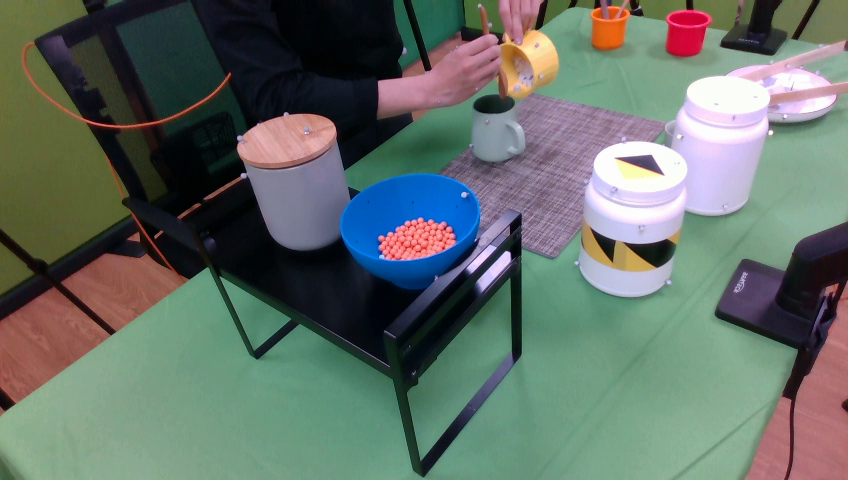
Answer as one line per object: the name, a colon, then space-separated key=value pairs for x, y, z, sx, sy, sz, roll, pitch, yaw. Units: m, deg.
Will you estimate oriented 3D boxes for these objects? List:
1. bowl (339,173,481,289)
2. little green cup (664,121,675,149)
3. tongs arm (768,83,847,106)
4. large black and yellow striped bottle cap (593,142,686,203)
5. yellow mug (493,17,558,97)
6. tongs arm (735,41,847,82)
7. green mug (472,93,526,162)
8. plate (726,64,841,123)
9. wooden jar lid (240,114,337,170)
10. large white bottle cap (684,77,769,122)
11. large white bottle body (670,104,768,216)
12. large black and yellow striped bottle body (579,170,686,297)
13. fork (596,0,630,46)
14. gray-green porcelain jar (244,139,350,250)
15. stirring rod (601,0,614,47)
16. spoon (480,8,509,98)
bowl: x=-0.011 y=0.001 z=0.660 sx=0.151 sy=0.077 sz=0.150 roll=-5 pitch=41 yaw=5
little green cup: x=0.472 y=-0.188 z=1.113 sx=0.061 sy=0.039 sz=0.061 roll=-5 pitch=40 yaw=4
tongs arm: x=0.738 y=-0.281 z=1.134 sx=0.388 sy=0.028 sz=0.028 roll=-9 pitch=47 yaw=-5
large black and yellow striped bottle cap: x=0.280 y=-0.090 z=0.786 sx=0.115 sy=0.019 sz=0.114 roll=-5 pitch=41 yaw=5
yellow mug: x=0.176 y=-0.326 z=1.071 sx=0.064 sy=0.131 sz=0.099 roll=-33 pitch=27 yaw=-28
tongs arm: x=0.712 y=-0.332 z=1.194 sx=0.386 sy=0.026 sz=0.050 roll=-19 pitch=45 yaw=-16
green mug: x=0.144 y=-0.202 z=1.122 sx=0.093 sy=0.105 sz=0.124 roll=-29 pitch=45 yaw=-23
plate: x=0.695 y=-0.283 z=1.189 sx=0.207 sy=0.039 sz=0.206 roll=-4 pitch=40 yaw=4
wooden jar lid: x=-0.149 y=-0.106 z=0.673 sx=0.108 sy=0.021 sz=0.108 roll=-6 pitch=39 yaw=5
large white bottle cap: x=0.448 y=-0.210 z=0.898 sx=0.115 sy=0.018 sz=0.114 roll=-4 pitch=40 yaw=4
large white bottle body: x=0.458 y=-0.146 z=0.953 sx=0.130 sy=0.185 sz=0.130 roll=-4 pitch=40 yaw=4
large black and yellow striped bottle body: x=0.287 y=-0.027 z=0.841 sx=0.131 sy=0.185 sz=0.130 roll=-4 pitch=40 yaw=4
fork: x=0.481 y=-0.556 z=1.452 sx=0.028 sy=0.019 sz=0.207 roll=40 pitch=103 yaw=39
gray-green porcelain jar: x=-0.143 y=-0.060 z=0.714 sx=0.106 sy=0.127 sz=0.105 roll=-4 pitch=41 yaw=4
stirring rod: x=0.439 y=-0.552 z=1.463 sx=0.014 sy=0.006 sz=0.175 roll=-7 pitch=83 yaw=2
spoon: x=0.116 y=-0.305 z=1.001 sx=0.021 sy=0.195 sz=0.041 roll=-20 pitch=59 yaw=12
